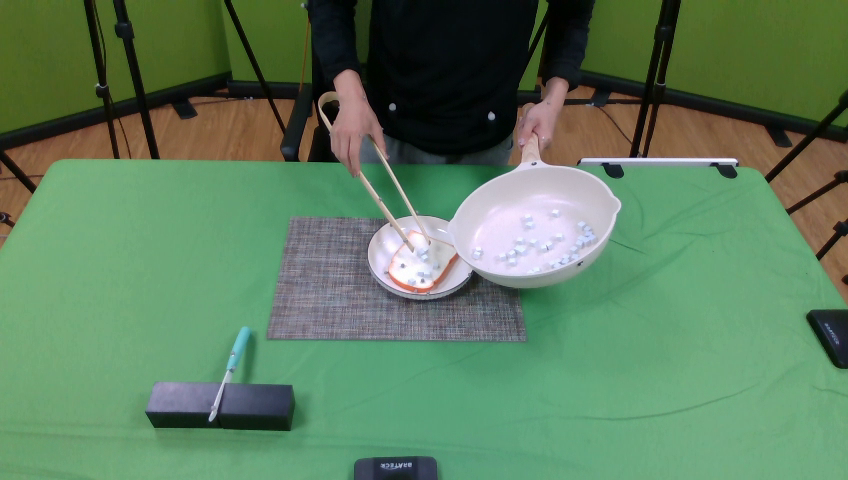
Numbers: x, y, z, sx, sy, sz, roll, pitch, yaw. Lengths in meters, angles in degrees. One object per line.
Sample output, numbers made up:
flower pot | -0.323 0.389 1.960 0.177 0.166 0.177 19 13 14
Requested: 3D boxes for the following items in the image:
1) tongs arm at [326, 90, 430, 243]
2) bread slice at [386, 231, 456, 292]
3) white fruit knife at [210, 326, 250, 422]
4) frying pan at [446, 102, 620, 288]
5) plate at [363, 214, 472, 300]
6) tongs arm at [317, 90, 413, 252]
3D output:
tongs arm | -0.091 -0.150 1.176 0.028 0.028 0.385 -29 71 -9
bread slice | -0.007 0.043 1.142 0.107 0.018 0.134 18 46 14
white fruit knife | -0.301 0.201 0.942 0.016 0.027 0.206 0 32 -1
frying pan | 0.204 -0.104 1.149 0.306 0.103 0.485 -6 51 16
plate | -0.010 0.036 1.146 0.208 0.039 0.206 3 46 -2
tongs arm | -0.112 -0.139 1.170 0.051 0.026 0.383 -32 71 -14
